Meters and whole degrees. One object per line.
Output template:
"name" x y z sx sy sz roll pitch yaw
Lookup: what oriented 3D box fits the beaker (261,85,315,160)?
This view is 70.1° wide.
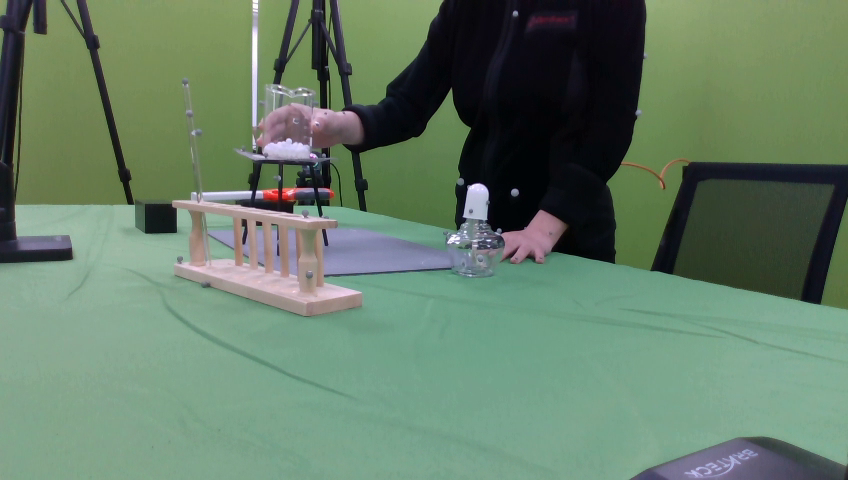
"beaker" -0.198 -0.169 0.877 0.074 0.100 0.083 2 6 -18

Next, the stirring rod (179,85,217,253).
"stirring rod" -0.236 -0.073 0.634 0.006 0.176 0.014 0 9 41

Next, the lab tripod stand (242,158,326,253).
"lab tripod stand" -0.207 -0.054 0.895 0.148 0.131 0.148 3 5 0

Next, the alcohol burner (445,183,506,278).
"alcohol burner" 0.066 -0.013 0.770 0.078 0.119 0.078 0 7 0

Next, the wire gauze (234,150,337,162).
"wire gauze" -0.205 -0.120 0.887 0.122 0.011 0.124 0 8 -32

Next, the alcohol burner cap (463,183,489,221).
"alcohol burner cap" 0.067 -0.048 0.765 0.034 0.048 0.034 5 5 0

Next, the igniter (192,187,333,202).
"igniter" -0.316 -0.090 1.213 0.278 0.025 0.057 -5 12 -31

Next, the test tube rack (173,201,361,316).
"test tube rack" -0.169 0.010 0.622 0.241 0.085 0.067 9 10 41
